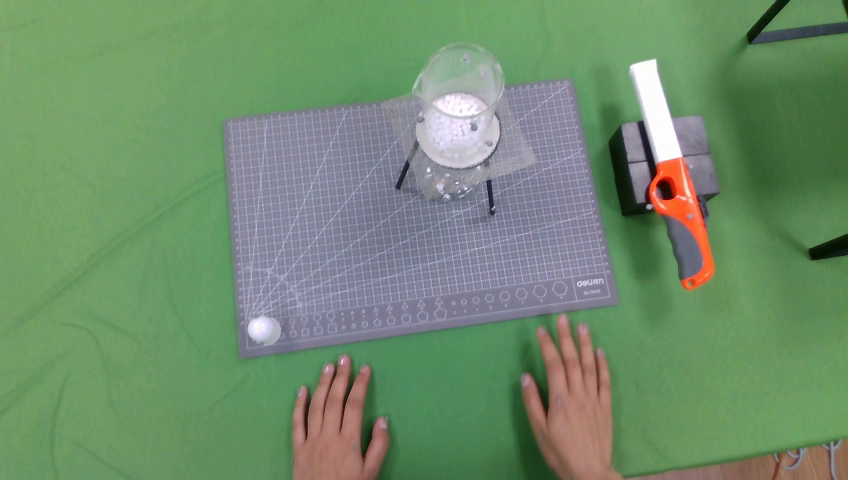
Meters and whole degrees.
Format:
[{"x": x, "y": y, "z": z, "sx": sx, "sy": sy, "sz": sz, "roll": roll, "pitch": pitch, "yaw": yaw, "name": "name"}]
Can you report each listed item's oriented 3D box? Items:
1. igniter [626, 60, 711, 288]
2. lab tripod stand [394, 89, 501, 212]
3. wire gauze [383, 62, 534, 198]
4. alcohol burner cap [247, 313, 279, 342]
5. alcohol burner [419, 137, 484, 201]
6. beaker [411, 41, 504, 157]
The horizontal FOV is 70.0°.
[{"x": 0.282, "y": -0.081, "z": 0.703, "sx": 0.057, "sy": 0.025, "sz": 0.275, "roll": -11, "pitch": 76, "yaw": 7, "name": "igniter"}, {"x": 0.034, "y": -0.105, "z": 0.692, "sx": 0.148, "sy": 0.132, "sz": 0.147, "roll": 0, "pitch": 75, "yaw": 0, "name": "lab tripod stand"}, {"x": 0.035, "y": -0.114, "z": 0.627, "sx": 0.125, "sy": 0.011, "sz": 0.121, "roll": -20, "pitch": 78, "yaw": -8, "name": "wire gauze"}, {"x": -0.185, "y": 0.097, "z": 0.685, "sx": 0.034, "sy": 0.048, "sz": 0.033, "roll": 1, "pitch": 76, "yaw": -2, "name": "alcohol burner cap"}, {"x": 0.032, "y": -0.087, "z": 0.698, "sx": 0.078, "sy": 0.119, "sz": 0.077, "roll": 0, "pitch": 78, "yaw": -1, "name": "alcohol burner"}, {"x": 0.029, "y": -0.128, "z": 0.580, "sx": 0.084, "sy": 0.100, "sz": 0.073, "roll": -9, "pitch": 75, "yaw": -3, "name": "beaker"}]
